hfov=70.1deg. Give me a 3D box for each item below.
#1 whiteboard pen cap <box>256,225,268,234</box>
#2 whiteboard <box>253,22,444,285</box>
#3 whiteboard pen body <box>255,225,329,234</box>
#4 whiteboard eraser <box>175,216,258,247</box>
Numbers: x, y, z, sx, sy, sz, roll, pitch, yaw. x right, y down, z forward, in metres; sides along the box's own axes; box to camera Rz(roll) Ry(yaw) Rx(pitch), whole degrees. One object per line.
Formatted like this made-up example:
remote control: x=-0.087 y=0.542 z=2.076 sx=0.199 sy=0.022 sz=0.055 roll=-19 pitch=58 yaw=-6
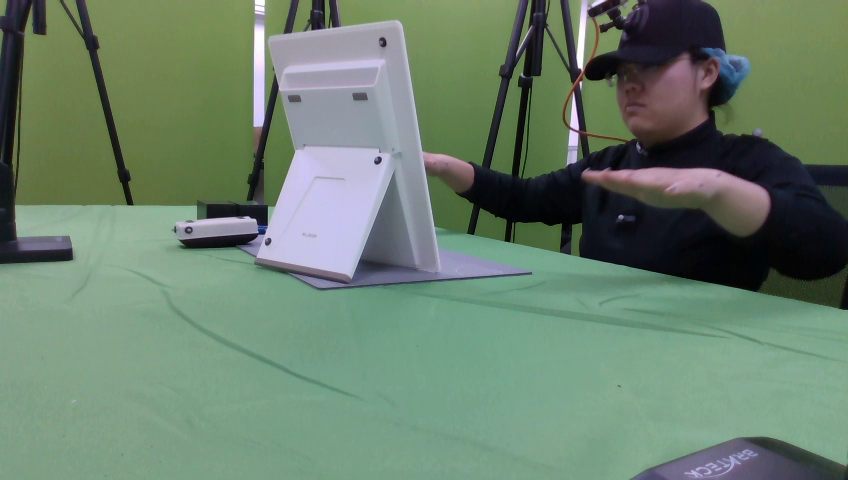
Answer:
whiteboard pen cap: x=-0.288 y=-0.019 z=1.072 sx=0.033 sy=0.018 sz=0.018 roll=-4 pitch=10 yaw=-34
whiteboard: x=-0.125 y=-0.081 z=0.715 sx=0.216 sy=0.305 sz=0.144 roll=9 pitch=29 yaw=36
whiteboard pen body: x=-0.239 y=-0.019 z=1.105 sx=0.141 sy=0.017 sz=0.017 roll=-2 pitch=9 yaw=-34
whiteboard eraser: x=-0.313 y=-0.013 z=0.915 sx=0.113 sy=0.042 sz=0.055 roll=-5 pitch=12 yaw=-30
